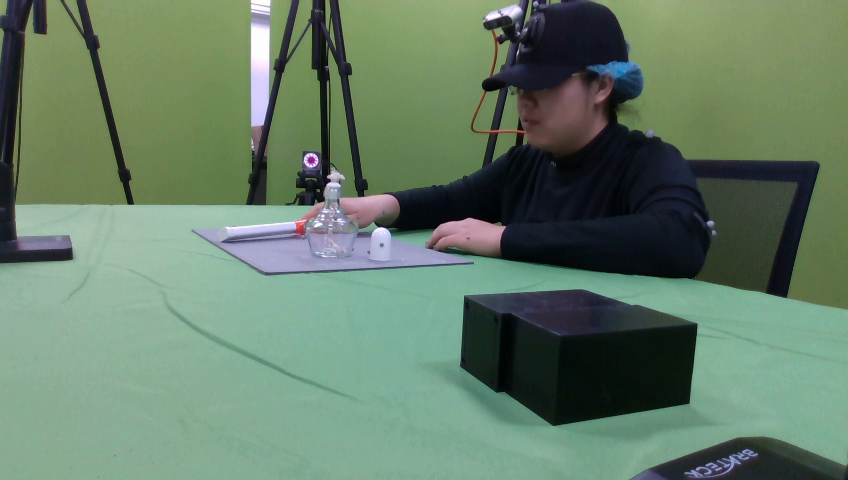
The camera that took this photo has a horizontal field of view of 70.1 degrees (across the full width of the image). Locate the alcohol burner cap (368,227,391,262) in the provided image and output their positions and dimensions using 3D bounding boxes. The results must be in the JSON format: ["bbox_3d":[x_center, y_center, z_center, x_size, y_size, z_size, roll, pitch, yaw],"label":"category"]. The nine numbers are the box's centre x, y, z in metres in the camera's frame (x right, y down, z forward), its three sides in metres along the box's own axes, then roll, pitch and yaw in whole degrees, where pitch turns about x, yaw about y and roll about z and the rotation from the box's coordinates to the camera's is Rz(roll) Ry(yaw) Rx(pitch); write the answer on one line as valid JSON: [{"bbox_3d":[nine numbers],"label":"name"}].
[{"bbox_3d":[-0.060,0.006,0.836,0.034,0.048,0.034,3,7,0],"label":"alcohol burner cap"}]

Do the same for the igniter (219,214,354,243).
[{"bbox_3d":[-0.221,-0.021,1.034,0.057,0.025,0.278,-22,-8,39],"label":"igniter"}]

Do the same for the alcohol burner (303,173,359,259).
[{"bbox_3d":[-0.130,-0.034,0.850,0.078,0.119,0.078,2,5,0],"label":"alcohol burner"}]
